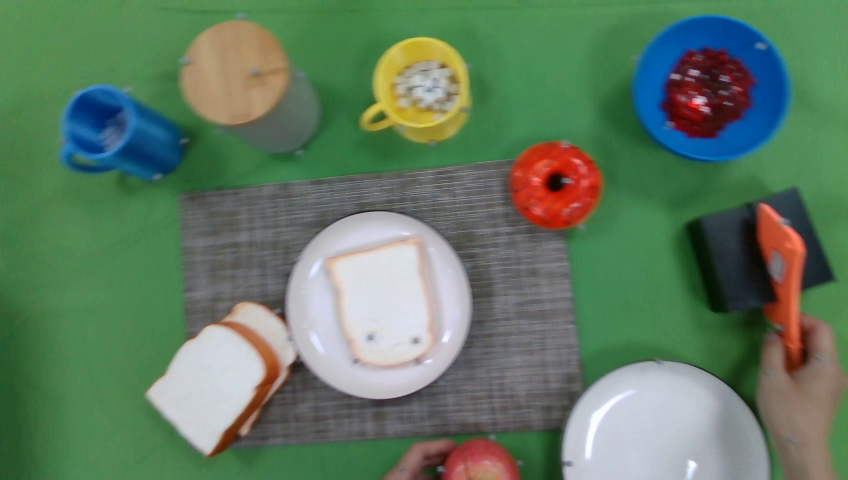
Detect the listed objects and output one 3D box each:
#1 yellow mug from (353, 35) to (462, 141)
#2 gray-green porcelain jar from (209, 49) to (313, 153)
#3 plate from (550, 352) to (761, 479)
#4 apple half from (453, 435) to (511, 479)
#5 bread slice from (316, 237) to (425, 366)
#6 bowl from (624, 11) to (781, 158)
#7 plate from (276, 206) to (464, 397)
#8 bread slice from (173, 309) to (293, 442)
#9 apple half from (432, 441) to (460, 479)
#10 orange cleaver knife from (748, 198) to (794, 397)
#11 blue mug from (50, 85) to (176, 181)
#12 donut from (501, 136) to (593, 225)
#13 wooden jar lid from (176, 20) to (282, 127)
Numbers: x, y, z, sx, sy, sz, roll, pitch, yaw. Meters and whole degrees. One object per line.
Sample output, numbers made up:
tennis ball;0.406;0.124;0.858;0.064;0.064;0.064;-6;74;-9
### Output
yellow mug;-0.022;-0.160;0.679;0.131;0.064;0.099;-30;82;3
gray-green porcelain jar;-0.185;-0.157;0.665;0.106;0.127;0.105;-1;84;6
plate;0.236;0.220;0.632;0.209;0.038;0.208;-1;85;7
apple half;0.063;0.242;0.631;0.053;0.075;0.080;-13;79;-1
bread slice;-0.052;0.071;0.673;0.107;0.018;0.134;-17;82;4
bowl;0.282;-0.153;0.641;0.151;0.077;0.151;-1;85;6
plate;-0.058;0.067;0.672;0.207;0.039;0.207;-1;85;6
bread slice;-0.202;0.145;0.679;0.105;0.019;0.131;28;87;0
apple half;0.026;0.251;0.631;0.033;0.081;0.081;-14;83;5
orange cleaver knife;0.350;0.061;0.612;0.012;0.076;0.213;-15;113;4
blue mug;-0.360;-0.109;0.688;0.116;0.106;0.082;-32;82;2
donut;0.133;-0.065;0.662;0.099;0.048;0.099;0;85;6
wooden jar lid;-0.192;-0.164;0.604;0.108;0.021;0.108;-1;83;7
